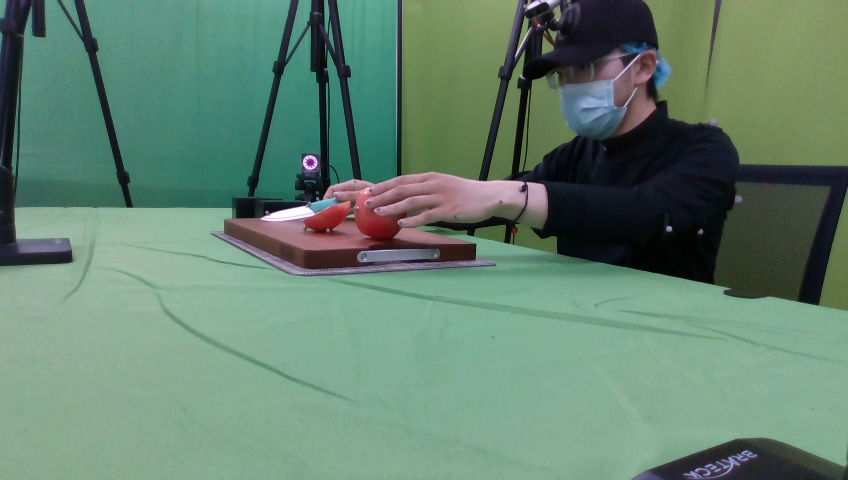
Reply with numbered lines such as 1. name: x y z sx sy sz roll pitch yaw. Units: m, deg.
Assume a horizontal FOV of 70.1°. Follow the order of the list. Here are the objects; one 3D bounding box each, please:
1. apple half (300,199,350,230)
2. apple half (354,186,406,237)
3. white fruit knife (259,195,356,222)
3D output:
1. apple half: -0.147 -0.035 0.942 0.081 0.033 0.081 -22 0 1
2. apple half: -0.056 -0.040 0.877 0.053 0.074 0.081 17 7 39
3. white fruit knife: -0.208 -0.058 1.113 0.208 0.027 0.016 -15 -14 -40
